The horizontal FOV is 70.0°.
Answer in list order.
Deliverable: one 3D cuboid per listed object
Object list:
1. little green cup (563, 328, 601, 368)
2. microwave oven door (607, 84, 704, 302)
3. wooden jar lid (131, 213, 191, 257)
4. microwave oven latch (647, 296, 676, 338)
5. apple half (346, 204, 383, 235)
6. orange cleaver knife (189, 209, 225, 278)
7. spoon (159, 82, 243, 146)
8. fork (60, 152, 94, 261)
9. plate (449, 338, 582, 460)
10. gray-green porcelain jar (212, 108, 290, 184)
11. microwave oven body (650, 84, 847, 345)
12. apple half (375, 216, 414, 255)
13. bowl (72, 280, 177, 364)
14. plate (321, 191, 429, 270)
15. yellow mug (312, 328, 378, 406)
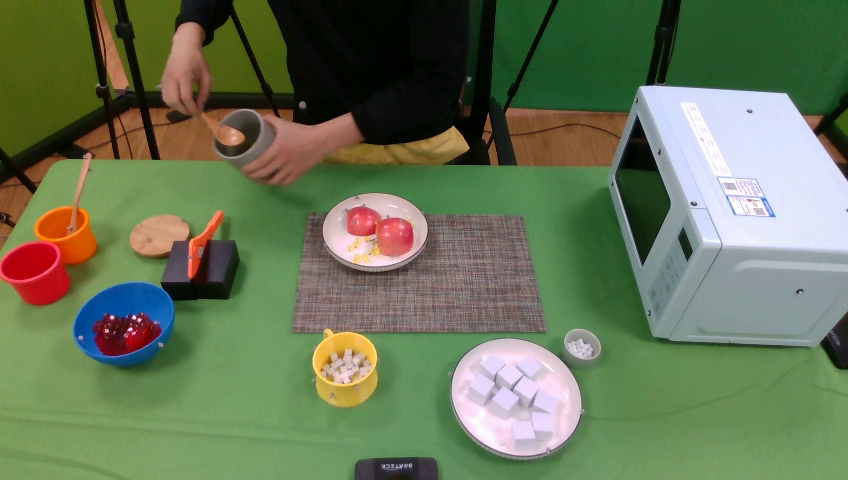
[{"bbox_3d":[0.265,0.185,1.025,0.061,0.039,0.061,1,45,-1],"label":"little green cup"},{"bbox_3d":[0.424,-0.096,1.138,0.039,0.245,0.353,3,46,-1],"label":"microwave oven door"},{"bbox_3d":[-0.504,-0.008,1.167,0.108,0.021,0.107,3,46,-3],"label":"wooden jar lid"},{"bbox_3d":[0.413,0.133,1.060,0.030,0.029,0.078,4,46,2],"label":"microwave oven latch"},{"bbox_3d":[-0.119,-0.049,1.207,0.081,0.033,0.081,2,50,-3],"label":"apple half"},{"bbox_3d":[-0.401,0.002,1.122,0.012,0.077,0.210,5,23,-5],"label":"orange cleaver knife"},{"bbox_3d":[-0.411,-0.235,1.112,0.193,0.022,0.041,39,65,3],"label":"spoon"},{"bbox_3d":[-0.638,-0.063,1.119,0.028,0.018,0.207,12,90,7],"label":"fork"},{"bbox_3d":[0.141,0.251,0.956,0.208,0.039,0.206,2,46,-2],"label":"plate"},{"bbox_3d":[-0.328,-0.176,1.170,0.106,0.127,0.105,-6,67,15],"label":"gray-green porcelain jar"},{"bbox_3d":[0.569,-0.054,1.116,0.326,0.261,0.439,2,46,-1],"label":"microwave oven body"},{"bbox_3d":[-0.056,-0.017,1.169,0.075,0.053,0.080,0,45,-7],"label":"apple half"},{"bbox_3d":[-0.473,0.147,0.982,0.151,0.077,0.150,2,46,-2],"label":"bowl"},{"bbox_3d":[-0.094,-0.015,1.185,0.209,0.038,0.208,2,46,-2],"label":"plate"},{"bbox_3d":[-0.132,0.193,0.971,0.100,0.064,0.130,-22,51,-22],"label":"yellow mug"}]
